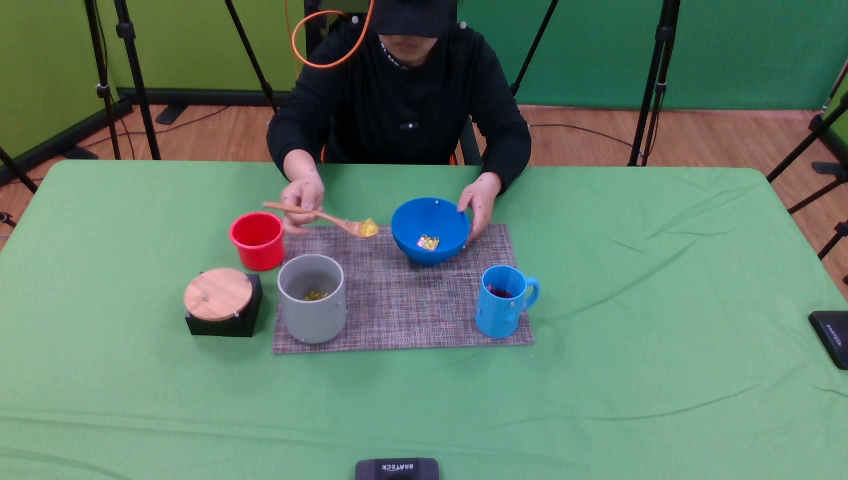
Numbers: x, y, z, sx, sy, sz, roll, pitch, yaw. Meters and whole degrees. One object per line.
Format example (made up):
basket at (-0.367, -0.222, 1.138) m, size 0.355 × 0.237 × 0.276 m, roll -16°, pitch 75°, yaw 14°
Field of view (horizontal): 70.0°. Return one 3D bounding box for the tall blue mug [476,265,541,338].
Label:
tall blue mug at (0.142, 0.099, 1.047) m, size 0.077 × 0.108 × 0.107 m, roll 33°, pitch 52°, yaw 27°

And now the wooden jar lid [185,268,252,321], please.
wooden jar lid at (-0.343, 0.093, 1.015) m, size 0.108 × 0.021 × 0.107 m, roll 3°, pitch 46°, yaw -3°

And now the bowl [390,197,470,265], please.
bowl at (0.010, -0.005, 1.160) m, size 0.151 × 0.077 × 0.150 m, roll 2°, pitch 46°, yaw -2°

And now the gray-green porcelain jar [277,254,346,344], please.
gray-green porcelain jar at (-0.184, 0.102, 1.008) m, size 0.106 × 0.127 × 0.105 m, roll 2°, pitch 46°, yaw -2°

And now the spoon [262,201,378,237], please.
spoon at (-0.170, -0.039, 1.004) m, size 0.194 × 0.022 × 0.041 m, roll 18°, pitch 37°, yaw -15°
